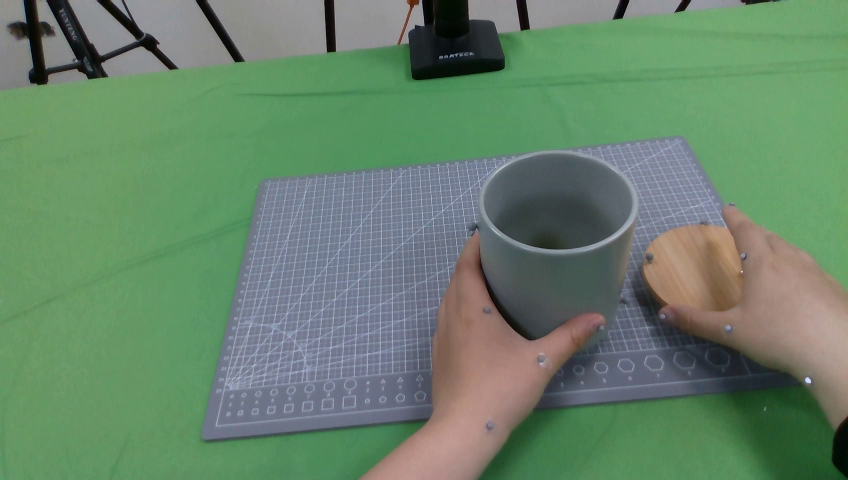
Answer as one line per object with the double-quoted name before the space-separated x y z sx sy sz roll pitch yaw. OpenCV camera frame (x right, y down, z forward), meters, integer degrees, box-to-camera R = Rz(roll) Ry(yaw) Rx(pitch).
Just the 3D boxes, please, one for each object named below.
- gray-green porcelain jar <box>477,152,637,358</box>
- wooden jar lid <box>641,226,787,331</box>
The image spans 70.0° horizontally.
"gray-green porcelain jar" 0.094 0.017 0.447 0.106 0.128 0.105 -4 45 4
"wooden jar lid" 0.231 0.032 0.490 0.108 0.021 0.107 -4 44 4
